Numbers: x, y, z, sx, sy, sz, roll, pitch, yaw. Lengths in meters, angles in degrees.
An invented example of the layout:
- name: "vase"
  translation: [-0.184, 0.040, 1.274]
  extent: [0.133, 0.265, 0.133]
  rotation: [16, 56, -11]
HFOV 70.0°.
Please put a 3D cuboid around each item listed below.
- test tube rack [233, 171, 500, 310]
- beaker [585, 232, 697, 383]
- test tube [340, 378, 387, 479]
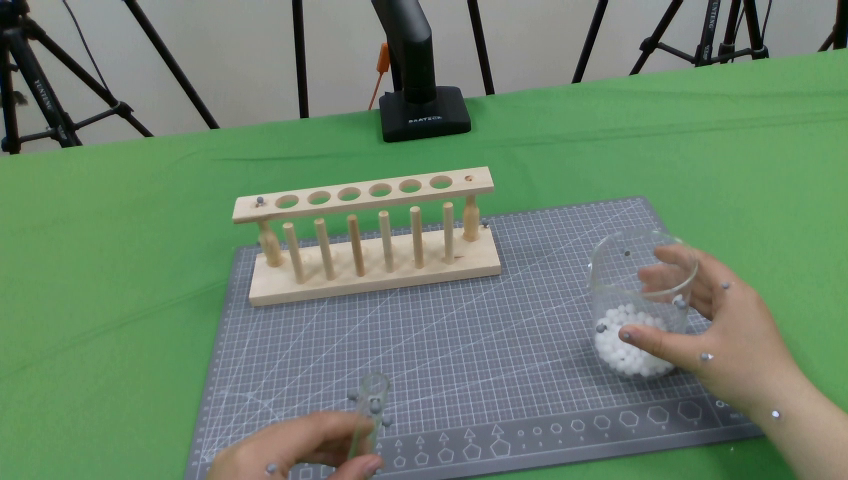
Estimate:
- name: "test tube rack"
  translation: [-0.052, 0.000, 0.584]
  extent: [0.242, 0.086, 0.066]
  rotation: [-7, 40, -1]
- name: "beaker"
  translation: [0.164, 0.057, 0.472]
  extent: [0.084, 0.101, 0.073]
  rotation: [-20, 38, -9]
- name: "test tube"
  translation: [-0.040, 0.134, 0.364]
  extent: [0.017, 0.151, 0.017]
  rotation: [9, 38, -7]
